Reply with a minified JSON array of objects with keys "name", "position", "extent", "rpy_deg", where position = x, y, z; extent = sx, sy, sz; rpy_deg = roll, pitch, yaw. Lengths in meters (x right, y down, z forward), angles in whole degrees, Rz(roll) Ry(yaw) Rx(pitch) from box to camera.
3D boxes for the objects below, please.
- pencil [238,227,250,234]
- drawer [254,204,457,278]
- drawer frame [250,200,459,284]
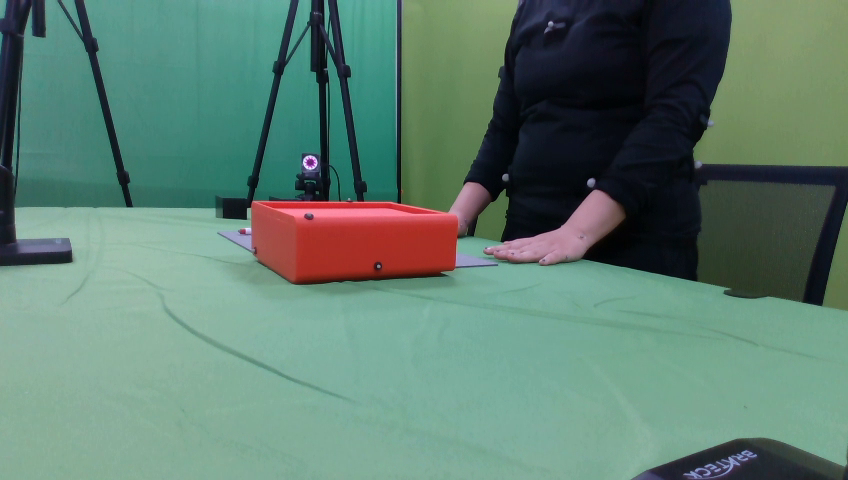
[{"name":"pencil","position":[-0.240,-0.015,1.105],"extent":[0.195,0.012,0.012],"rpy_deg":[1,7,-30]},{"name":"drawer","position":[-0.094,-0.005,0.790],"extent":[0.213,0.073,0.193],"rpy_deg":[-3,10,-30]},{"name":"drawer frame","position":[-0.095,-0.005,0.788],"extent":[0.215,0.082,0.200],"rpy_deg":[-3,10,-30]}]
